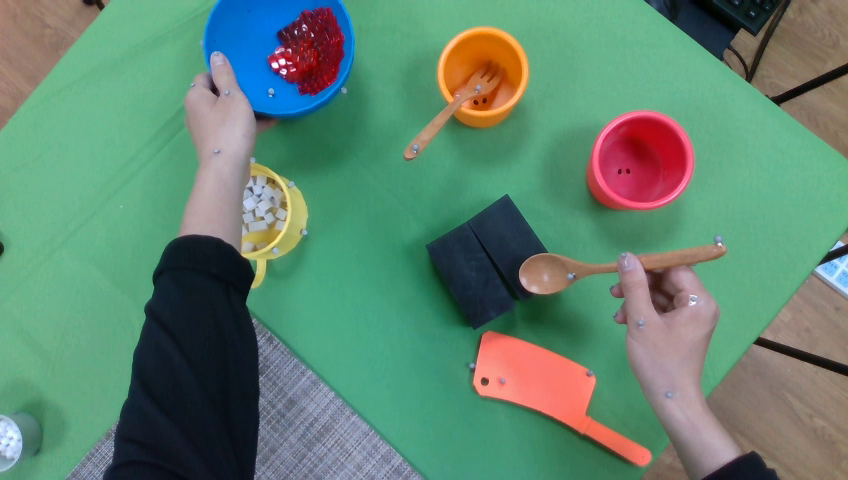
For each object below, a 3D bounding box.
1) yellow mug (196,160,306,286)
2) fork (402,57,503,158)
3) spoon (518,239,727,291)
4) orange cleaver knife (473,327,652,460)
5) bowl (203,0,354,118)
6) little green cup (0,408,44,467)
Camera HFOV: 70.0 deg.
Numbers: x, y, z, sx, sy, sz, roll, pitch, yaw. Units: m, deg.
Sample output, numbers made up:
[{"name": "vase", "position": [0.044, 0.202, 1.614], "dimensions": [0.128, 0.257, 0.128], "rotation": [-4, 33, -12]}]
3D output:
[{"name": "yellow mug", "position": [-0.183, -0.016, 0.650], "dimensions": [0.100, 0.064, 0.130], "rotation": [-1, 87, 3]}, {"name": "fork", "position": [0.031, -0.136, 0.602], "dimensions": [0.028, 0.019, 0.206], "rotation": [35, 46, 4]}, {"name": "spoon", "position": [0.164, 0.020, 0.531], "dimensions": [0.022, 0.193, 0.042], "rotation": [-23, 99, -42]}, {"name": "orange cleaver knife", "position": [0.149, 0.162, 0.644], "dimensions": [0.211, 0.012, 0.077], "rotation": [25, 84, 6]}, {"name": "bowl", "position": [-0.146, -0.196, 0.643], "dimensions": [0.151, 0.077, 0.151], "rotation": [0, 86, -3]}, {"name": "little green cup", "position": [-0.456, 0.215, 0.668], "dimensions": [0.061, 0.039, 0.061], "rotation": [0, 87, 4]}]
